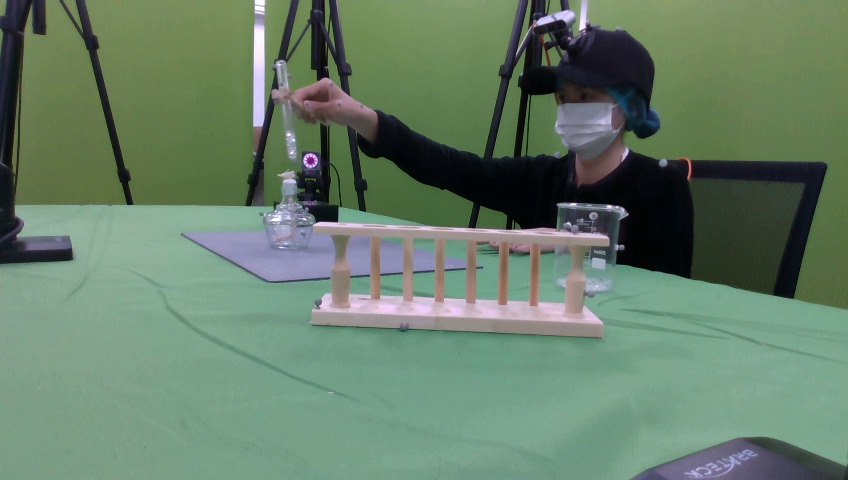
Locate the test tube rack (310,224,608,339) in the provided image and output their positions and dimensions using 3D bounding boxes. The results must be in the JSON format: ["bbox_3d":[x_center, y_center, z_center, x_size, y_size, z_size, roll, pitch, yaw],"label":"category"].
[{"bbox_3d":[0.028,0.032,0.528,0.242,0.085,0.067,3,7,0],"label":"test tube rack"}]

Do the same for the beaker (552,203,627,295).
[{"bbox_3d":[0.191,0.010,0.708,0.083,0.100,0.074,8,9,33],"label":"beaker"}]

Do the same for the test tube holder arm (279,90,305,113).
[{"bbox_3d":[-0.203,-0.213,0.937,0.010,0.015,0.088,-6,-4,8],"label":"test tube holder arm"}]

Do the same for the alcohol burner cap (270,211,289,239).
[{"bbox_3d":[-0.246,-0.026,1.035,0.034,0.048,0.034,2,8,0],"label":"alcohol burner cap"}]

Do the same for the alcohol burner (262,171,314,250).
[{"bbox_3d":[-0.205,-0.045,0.913,0.078,0.119,0.078,1,9,0],"label":"alcohol burner"}]

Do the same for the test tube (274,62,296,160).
[{"bbox_3d":[-0.210,-0.194,0.914,0.017,0.150,0.017,-8,-3,0],"label":"test tube"}]

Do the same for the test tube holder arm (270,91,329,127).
[{"bbox_3d":[-0.198,-0.211,0.982,0.013,0.015,0.179,-6,-4,16],"label":"test tube holder arm"}]
